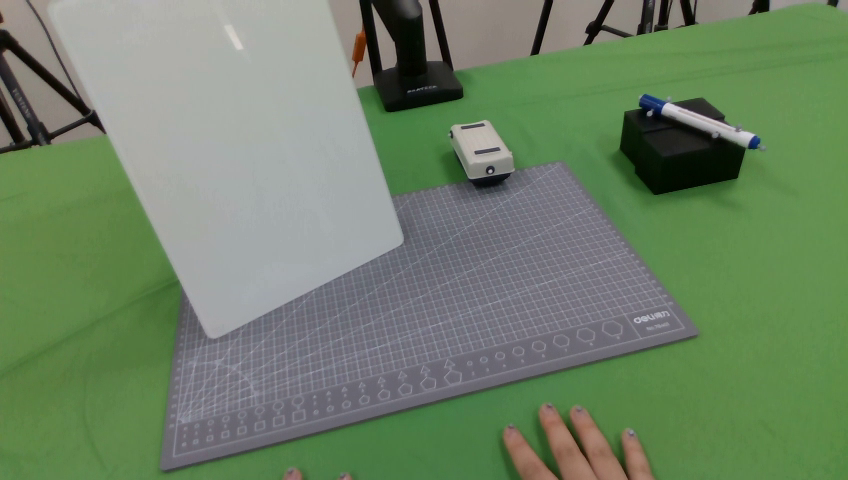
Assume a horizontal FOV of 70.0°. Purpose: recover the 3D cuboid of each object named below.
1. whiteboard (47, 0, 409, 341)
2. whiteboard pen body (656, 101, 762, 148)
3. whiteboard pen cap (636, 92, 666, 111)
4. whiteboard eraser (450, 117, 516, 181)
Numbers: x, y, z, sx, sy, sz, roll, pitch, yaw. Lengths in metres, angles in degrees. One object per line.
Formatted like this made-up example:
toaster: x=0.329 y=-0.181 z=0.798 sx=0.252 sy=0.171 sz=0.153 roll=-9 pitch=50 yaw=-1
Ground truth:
whiteboard: x=-0.179 y=-0.100 z=0.597 sx=0.217 sy=0.307 sz=0.142 roll=-27 pitch=24 yaw=-22
whiteboard pen body: x=0.307 y=-0.133 z=0.674 sx=0.017 sy=0.017 sz=0.139 roll=-29 pitch=45 yaw=-25
whiteboard pen cap: x=0.267 y=-0.162 z=0.712 sx=0.033 sy=0.018 sz=0.018 roll=-11 pitch=36 yaw=23
whiteboard eraser: x=0.070 y=-0.110 z=0.737 sx=0.055 sy=0.042 sz=0.111 roll=-12 pitch=37 yaw=-5
